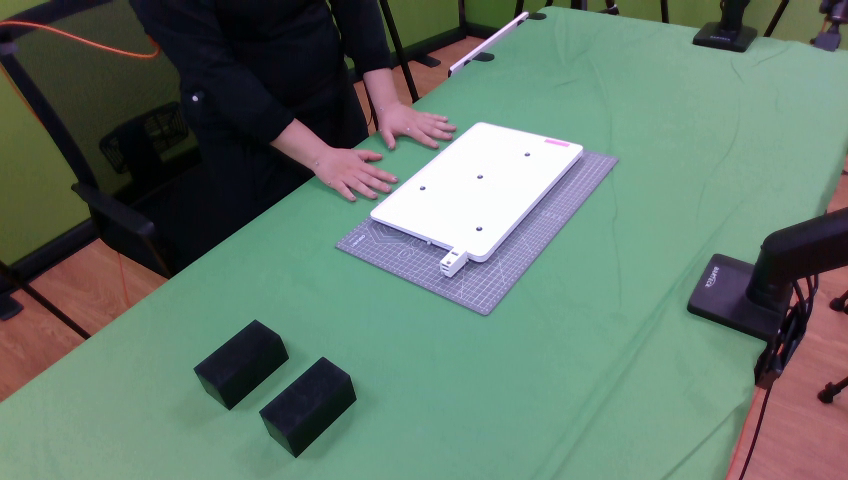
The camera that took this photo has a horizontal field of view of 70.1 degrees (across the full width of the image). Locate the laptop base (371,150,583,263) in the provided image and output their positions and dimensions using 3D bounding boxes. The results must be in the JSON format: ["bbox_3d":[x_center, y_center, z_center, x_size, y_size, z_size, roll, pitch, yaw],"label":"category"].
[{"bbox_3d":[0.102,-0.096,1.071,0.233,0.023,0.355,19,47,32],"label":"laptop base"}]

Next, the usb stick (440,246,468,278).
[{"bbox_3d":[0.050,0.029,0.911,0.021,0.027,0.059,24,47,32],"label":"usb stick"}]

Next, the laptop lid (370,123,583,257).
[{"bbox_3d":[0.099,-0.106,1.064,0.240,0.013,0.358,22,48,33],"label":"laptop lid"}]
